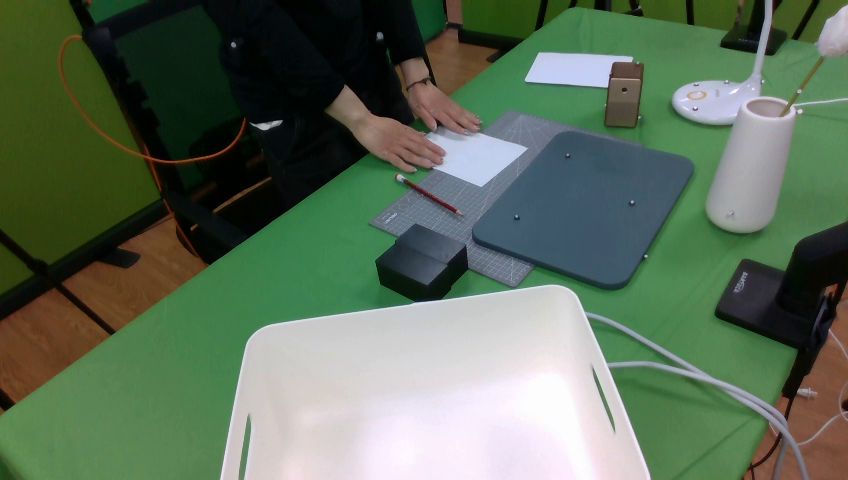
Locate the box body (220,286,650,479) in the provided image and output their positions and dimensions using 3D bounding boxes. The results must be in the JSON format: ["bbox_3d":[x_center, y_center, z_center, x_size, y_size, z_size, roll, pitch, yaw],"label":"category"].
[{"bbox_3d":[0.006,0.210,0.618,0.364,0.161,0.252,-8,40,-1],"label":"box body"}]

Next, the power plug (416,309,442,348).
[{"bbox_3d":[0.004,0.121,0.787,0.035,0.053,0.072,2,46,8],"label":"power plug"}]

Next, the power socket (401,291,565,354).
[{"bbox_3d":[0.079,0.111,0.823,0.227,0.033,0.072,-5,41,1],"label":"power socket"}]

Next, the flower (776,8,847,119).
[{"bbox_3d":[0.476,-0.156,0.823,0.038,0.362,0.044,8,58,2],"label":"flower"}]

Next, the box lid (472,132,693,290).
[{"bbox_3d":[0.273,-0.068,1.020,0.261,0.015,0.372,20,47,28],"label":"box lid"}]

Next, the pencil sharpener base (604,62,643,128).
[{"bbox_3d":[0.390,-0.284,1.182,0.061,0.107,0.076,7,42,17],"label":"pencil sharpener base"}]

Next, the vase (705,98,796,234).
[{"bbox_3d":[0.480,-0.104,0.889,0.098,0.201,0.097,-4,42,4],"label":"vase"}]

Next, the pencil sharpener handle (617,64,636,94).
[{"bbox_3d":[0.401,-0.327,1.211,0.036,0.068,0.030,16,44,8],"label":"pencil sharpener handle"}]

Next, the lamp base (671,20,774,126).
[{"bbox_3d":[0.581,-0.332,1.154,0.179,0.181,0.160,2,42,7],"label":"lamp base"}]

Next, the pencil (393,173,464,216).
[{"bbox_3d":[0.006,-0.081,1.071,0.012,0.012,0.192,-32,44,-26],"label":"pencil"}]
